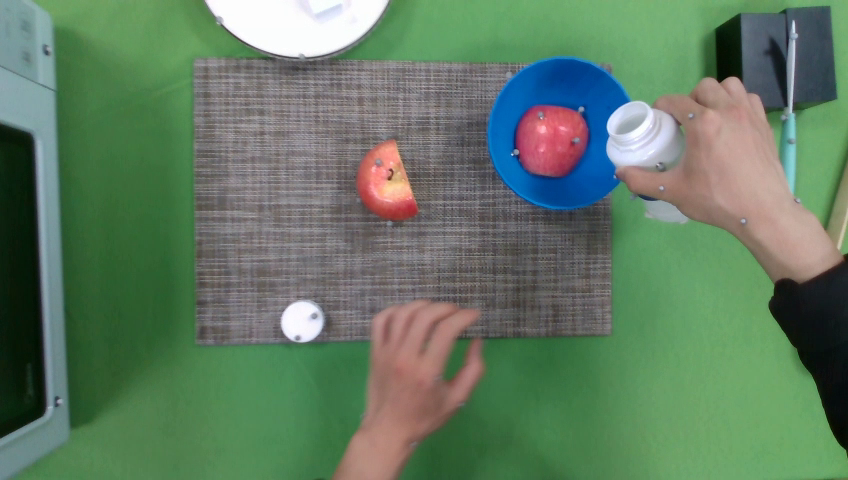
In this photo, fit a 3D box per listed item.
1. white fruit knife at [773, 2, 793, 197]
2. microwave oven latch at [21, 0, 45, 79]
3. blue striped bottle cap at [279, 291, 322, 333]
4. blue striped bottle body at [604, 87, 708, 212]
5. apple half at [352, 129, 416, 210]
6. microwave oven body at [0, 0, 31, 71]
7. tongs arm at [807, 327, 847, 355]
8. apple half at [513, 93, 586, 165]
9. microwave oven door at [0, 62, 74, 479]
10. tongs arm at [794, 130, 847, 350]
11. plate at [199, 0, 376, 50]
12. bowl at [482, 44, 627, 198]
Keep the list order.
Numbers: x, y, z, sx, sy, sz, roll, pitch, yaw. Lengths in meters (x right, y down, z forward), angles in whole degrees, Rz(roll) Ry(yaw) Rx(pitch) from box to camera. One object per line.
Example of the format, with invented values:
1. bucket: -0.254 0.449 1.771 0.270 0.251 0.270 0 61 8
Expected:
1. white fruit knife: 0.384 -0.143 0.645 0.016 0.027 0.208 -5 109 13
2. microwave oven latch: -0.388 -0.197 0.584 0.030 0.029 0.079 -3 93 -5
3. blue striped bottle cap: -0.131 0.076 0.641 0.045 0.020 0.044 0 90 -8
4. blue striped bottle body: 0.208 -0.084 0.551 0.063 0.062 0.122 -50 126 -2
5. apple half: -0.045 -0.066 0.615 0.053 0.074 0.081 -20 97 0
6. microwave oven body: -0.521 -0.012 0.482 0.326 0.259 0.441 -3 93 -5
7. tongs arm: 0.557 -0.032 0.690 0.051 0.026 0.384 29 91 -4
8. apple half: 0.132 -0.115 0.621 0.081 0.033 0.081 0 91 -4
9. microwave oven door: -0.372 0.023 0.491 0.039 0.243 0.356 -3 92 -4
10. tongs arm: 0.482 -0.066 0.687 0.028 0.027 0.387 15 91 -7
11. plate: -0.139 -0.296 0.621 0.208 0.039 0.207 0 92 -5
12. bowl: 0.129 -0.116 0.625 0.151 0.076 0.151 0 92 -4
